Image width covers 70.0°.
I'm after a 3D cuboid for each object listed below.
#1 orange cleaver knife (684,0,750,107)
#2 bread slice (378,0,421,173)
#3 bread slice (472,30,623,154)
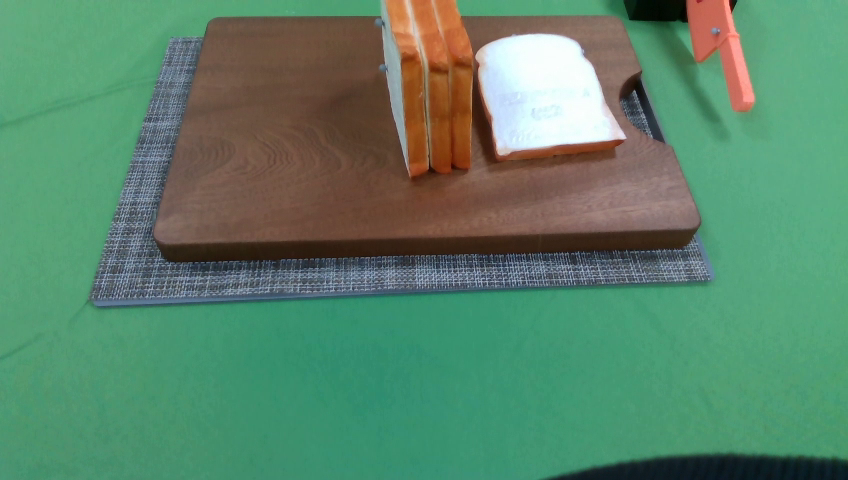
[{"bbox_3d":[0.274,-0.212,0.580,0.012,0.077,0.210,1,73,-5],"label":"orange cleaver knife"},{"bbox_3d":[-0.020,-0.131,0.464,0.018,0.108,0.133,-6,47,-6],"label":"bread slice"},{"bbox_3d":[0.096,-0.128,0.510,0.105,0.019,0.130,-8,58,-6],"label":"bread slice"}]
